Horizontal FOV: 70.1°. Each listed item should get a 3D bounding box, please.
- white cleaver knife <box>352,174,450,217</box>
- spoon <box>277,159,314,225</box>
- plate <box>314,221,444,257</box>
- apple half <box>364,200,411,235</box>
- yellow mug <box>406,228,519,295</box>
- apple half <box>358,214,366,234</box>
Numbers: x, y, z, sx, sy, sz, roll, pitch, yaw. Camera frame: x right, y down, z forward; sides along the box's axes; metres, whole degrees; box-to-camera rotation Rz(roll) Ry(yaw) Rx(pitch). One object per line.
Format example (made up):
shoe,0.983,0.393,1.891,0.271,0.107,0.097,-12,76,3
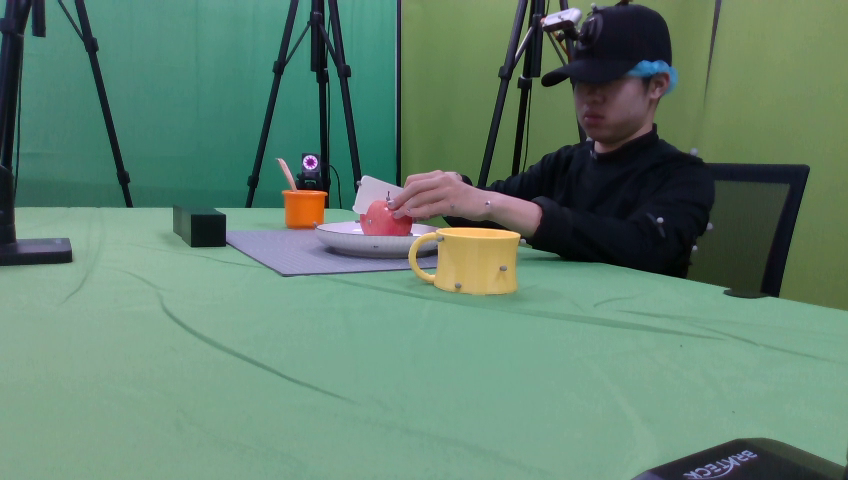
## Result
white cleaver knife,-0.034,-0.057,0.998,0.021,0.066,0.288,15,3,31
spoon,-0.272,-0.103,1.260,0.042,0.193,0.021,-4,-34,-33
plate,-0.066,-0.002,0.948,0.209,0.038,0.209,3,7,0
apple half,-0.049,-0.024,0.929,0.053,0.074,0.081,11,6,27
yellow mug,0.044,0.022,0.707,0.131,0.064,0.100,2,7,5
apple half,-0.083,-0.029,0.946,0.032,0.081,0.081,9,9,27
